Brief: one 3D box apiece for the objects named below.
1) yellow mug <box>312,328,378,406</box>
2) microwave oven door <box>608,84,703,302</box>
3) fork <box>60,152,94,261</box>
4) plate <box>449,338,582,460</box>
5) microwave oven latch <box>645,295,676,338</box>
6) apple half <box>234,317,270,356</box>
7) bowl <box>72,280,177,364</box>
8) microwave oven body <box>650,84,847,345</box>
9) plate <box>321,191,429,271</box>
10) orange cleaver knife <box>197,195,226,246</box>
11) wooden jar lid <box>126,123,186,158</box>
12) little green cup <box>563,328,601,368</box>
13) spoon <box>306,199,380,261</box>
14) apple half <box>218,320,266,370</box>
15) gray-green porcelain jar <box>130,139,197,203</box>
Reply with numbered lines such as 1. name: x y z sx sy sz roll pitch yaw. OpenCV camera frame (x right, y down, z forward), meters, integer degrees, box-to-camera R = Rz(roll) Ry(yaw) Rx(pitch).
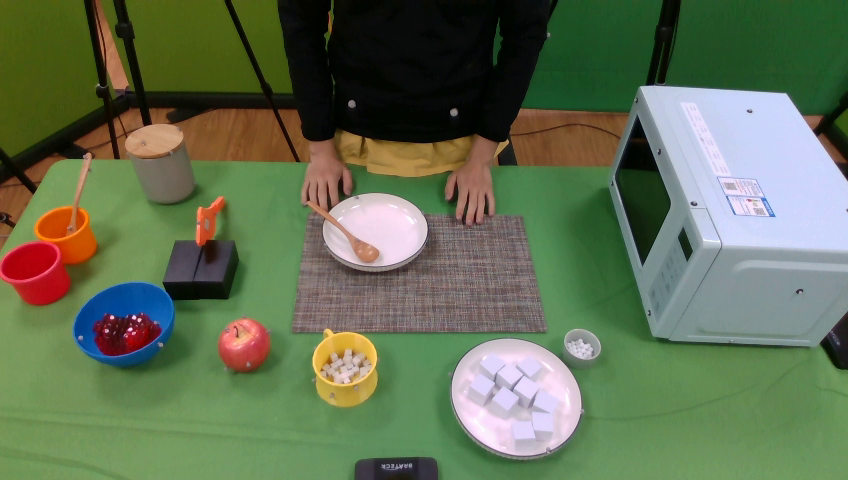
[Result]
1. yellow mug: -0.132 0.193 0.971 0.100 0.064 0.130 -22 51 -22
2. microwave oven door: 0.424 -0.096 1.138 0.039 0.245 0.353 2 46 -1
3. fork: -0.638 -0.063 1.119 0.028 0.018 0.207 12 90 10
4. plate: 0.141 0.251 0.956 0.208 0.039 0.206 2 46 -2
5. microwave oven latch: 0.412 0.133 1.061 0.030 0.029 0.078 3 46 0
6. apple half: -0.273 0.154 0.992 0.081 0.082 0.033 33 56 25
7. bowl: -0.473 0.147 0.982 0.151 0.077 0.150 2 46 -2
8. microwave oven body: 0.569 -0.054 1.116 0.326 0.261 0.439 2 46 -1
9. plate: -0.094 -0.015 1.185 0.209 0.038 0.208 2 46 -2
10. orange cleaver knife: -0.405 -0.041 1.157 0.012 0.077 0.210 2 14 -7
11. wooden jar lid: -0.519 -0.190 1.179 0.108 0.021 0.107 2 44 -2
12. little green cup: 0.265 0.184 1.025 0.061 0.039 0.061 1 46 -1
13. spoon: -0.160 -0.023 1.170 0.193 0.022 0.041 41 62 16
14. apple half: -0.298 0.176 0.971 0.080 0.075 0.053 35 57 22
15. gray-green porcelain jar: -0.522 -0.148 1.225 0.106 0.127 0.105 2 47 -2
